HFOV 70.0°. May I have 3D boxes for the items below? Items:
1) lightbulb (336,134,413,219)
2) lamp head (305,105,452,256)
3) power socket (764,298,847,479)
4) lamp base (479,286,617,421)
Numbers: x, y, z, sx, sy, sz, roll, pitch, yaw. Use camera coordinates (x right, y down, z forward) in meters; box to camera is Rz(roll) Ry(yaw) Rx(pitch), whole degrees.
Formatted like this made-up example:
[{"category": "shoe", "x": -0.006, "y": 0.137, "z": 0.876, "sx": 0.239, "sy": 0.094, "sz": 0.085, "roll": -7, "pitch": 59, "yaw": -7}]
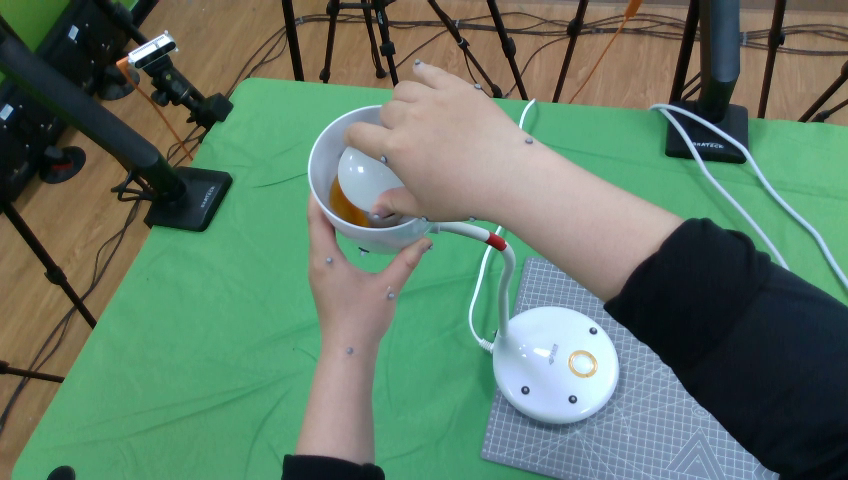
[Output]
[{"category": "lightbulb", "x": -0.038, "y": -0.043, "z": 0.485, "sx": 0.059, "sy": 0.108, "sz": 0.059, "roll": 0, "pitch": 73, "yaw": 0}, {"category": "lamp head", "x": -0.031, "y": -0.035, "z": 0.516, "sx": 0.112, "sy": 0.124, "sz": 0.111, "roll": -2, "pitch": 66, "yaw": 5}, {"category": "power socket", "x": 0.454, "y": 0.170, "z": 0.727, "sx": 0.072, "sy": 0.033, "sz": 0.225, "roll": 8, "pitch": 59, "yaw": 14}, {"category": "lamp base", "x": 0.144, "y": 0.114, "z": 0.729, "sx": 0.178, "sy": 0.182, "sz": 0.159, "roll": 2, "pitch": 58, "yaw": 15}]
